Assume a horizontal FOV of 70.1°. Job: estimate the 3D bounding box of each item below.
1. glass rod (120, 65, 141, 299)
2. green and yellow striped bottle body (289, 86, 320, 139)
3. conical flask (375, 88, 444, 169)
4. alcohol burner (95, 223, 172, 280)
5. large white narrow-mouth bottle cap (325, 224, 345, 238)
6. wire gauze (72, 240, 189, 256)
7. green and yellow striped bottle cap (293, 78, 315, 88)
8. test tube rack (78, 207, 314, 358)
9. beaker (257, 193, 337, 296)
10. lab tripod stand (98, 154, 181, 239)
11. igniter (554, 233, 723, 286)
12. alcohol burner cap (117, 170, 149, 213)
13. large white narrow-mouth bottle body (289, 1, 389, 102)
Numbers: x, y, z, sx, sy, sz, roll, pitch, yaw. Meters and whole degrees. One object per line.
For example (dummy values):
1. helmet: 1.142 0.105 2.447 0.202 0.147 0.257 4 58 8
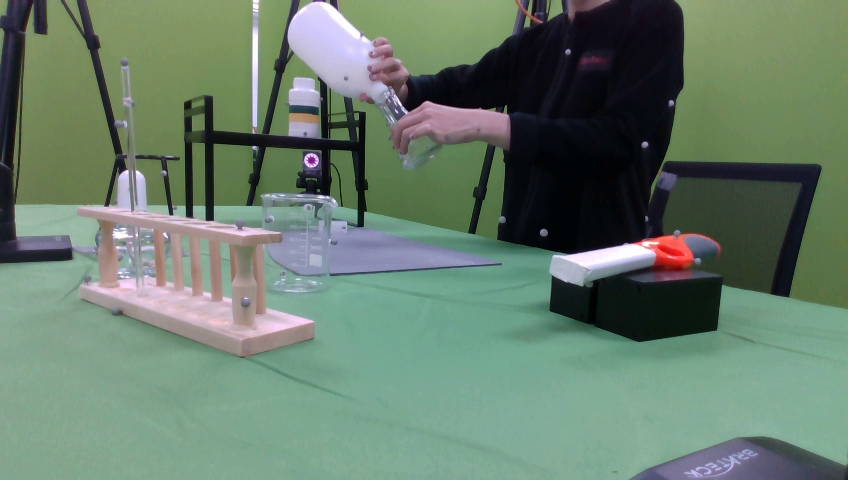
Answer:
1. glass rod: -0.248 -0.047 0.513 0.008 0.199 0.008 -1 4 0
2. green and yellow striped bottle body: -0.250 -0.272 1.261 0.063 0.119 0.063 3 7 0
3. conical flask: -0.030 -0.179 0.954 0.075 0.122 0.075 -34 -4 -2
4. alcohol burner: -0.320 -0.017 0.667 0.078 0.119 0.078 0 7 0
5. large white narrow-mouth bottle cap: -0.160 -0.017 1.090 0.038 0.024 0.037 3 9 0
6. wire gauze: -0.399 0.013 0.820 0.126 0.011 0.121 -3 8 -37
7. green and yellow striped bottle cap: -0.248 -0.323 1.256 0.045 0.020 0.045 4 8 0
8. test tube rack: -0.197 0.024 0.500 0.241 0.085 0.067 8 8 37
9. beaker: -0.130 0.003 0.628 0.084 0.100 0.074 5 8 15
10. lab tripod stand: -0.427 -0.066 0.942 0.148 0.131 0.148 1 6 0
11. igniter: 0.214 0.015 0.570 0.278 0.025 0.057 -5 22 -44
12. alcohol burner cap: -0.320 -0.052 0.661 0.034 0.048 0.034 -3 0 0
13. large white narrow-mouth bottle body: -0.128 -0.295 0.986 0.194 0.101 0.102 47 26 18
